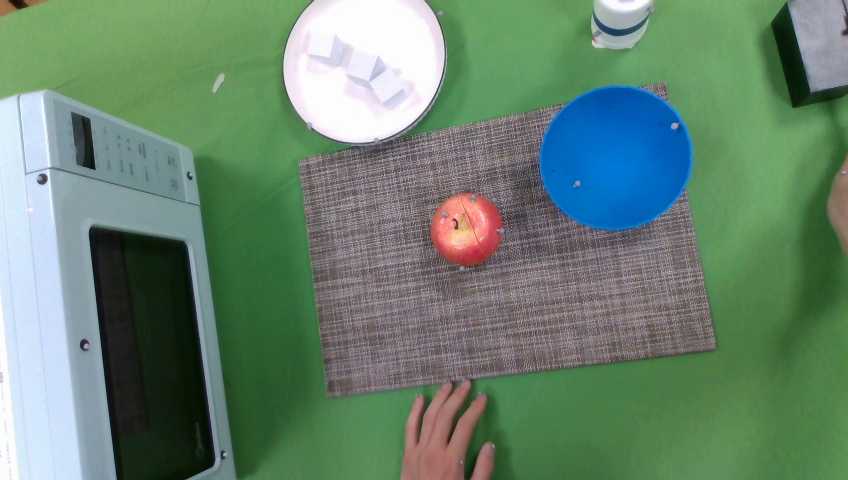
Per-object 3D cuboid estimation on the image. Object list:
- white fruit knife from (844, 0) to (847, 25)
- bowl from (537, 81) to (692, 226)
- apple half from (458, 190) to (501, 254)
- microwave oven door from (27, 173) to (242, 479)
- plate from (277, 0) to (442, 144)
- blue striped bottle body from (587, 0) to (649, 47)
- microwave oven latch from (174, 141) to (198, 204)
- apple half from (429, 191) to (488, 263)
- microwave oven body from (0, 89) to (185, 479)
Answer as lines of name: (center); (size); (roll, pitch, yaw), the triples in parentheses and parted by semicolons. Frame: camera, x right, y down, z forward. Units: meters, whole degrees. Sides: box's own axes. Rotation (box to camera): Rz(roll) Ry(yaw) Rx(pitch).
white fruit knife: (0.442, -0.139, 0.605); (0.016, 0.027, 0.207); (-13, 94, 9)
bowl: (0.200, -0.085, 0.652); (0.151, 0.077, 0.151); (-1, 86, 13)
apple half: (0.069, -0.025, 0.678); (0.033, 0.081, 0.081); (-26, 81, 12)
microwave oven door: (-0.296, 0.121, 0.646); (0.039, 0.245, 0.354); (-12, 83, 11)
plate: (-0.078, -0.218, 0.747); (0.207, 0.039, 0.207); (-1, 86, 12)
blue striped bottle body: (0.208, -0.259, 0.645); (0.063, 0.121, 0.063); (-1, 85, 12)
microwave oven latch: (-0.311, -0.084, 0.769); (0.030, 0.029, 0.079); (-11, 84, 11)
apple half: (0.035, -0.009, 0.685); (0.053, 0.075, 0.080); (-25, 84, 12)
microwave oven body: (-0.443, 0.110, 0.684); (0.325, 0.261, 0.440); (-12, 84, 10)
